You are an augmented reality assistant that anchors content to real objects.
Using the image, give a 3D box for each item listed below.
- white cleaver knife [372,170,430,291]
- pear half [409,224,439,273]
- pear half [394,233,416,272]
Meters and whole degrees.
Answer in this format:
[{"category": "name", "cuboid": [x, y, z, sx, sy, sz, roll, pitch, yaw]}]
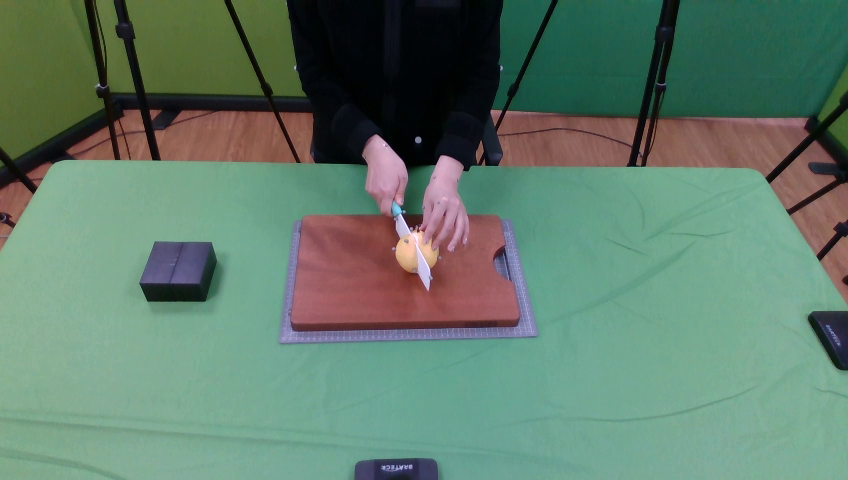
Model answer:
[{"category": "white cleaver knife", "cuboid": [-0.047, -0.024, 1.115, 0.021, 0.066, 0.284, -11, 51, -20]}, {"category": "pear half", "cuboid": [0.000, 0.006, 1.092, 0.056, 0.110, 0.076, -19, 56, -20]}, {"category": "pear half", "cuboid": [-0.036, 0.024, 1.087, 0.031, 0.088, 0.070, -23, 57, -18]}]
